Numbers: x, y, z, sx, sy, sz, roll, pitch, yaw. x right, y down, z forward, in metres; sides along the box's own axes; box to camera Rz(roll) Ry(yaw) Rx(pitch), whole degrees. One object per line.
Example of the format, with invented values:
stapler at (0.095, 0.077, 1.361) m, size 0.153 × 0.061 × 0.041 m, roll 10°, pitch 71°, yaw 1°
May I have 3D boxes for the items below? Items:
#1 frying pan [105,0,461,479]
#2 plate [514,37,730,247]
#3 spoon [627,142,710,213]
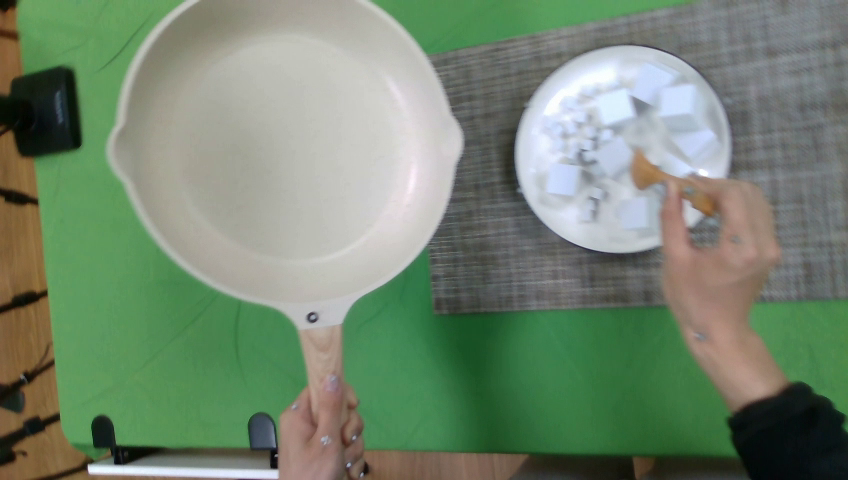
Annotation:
frying pan at (-0.108, 0.015, 0.558) m, size 0.308 × 0.102 × 0.487 m, roll -5°, pitch 87°, yaw -17°
plate at (0.197, -0.097, 0.620) m, size 0.207 × 0.039 × 0.207 m, roll 1°, pitch 93°, yaw 19°
spoon at (0.197, -0.051, 0.495) m, size 0.021 × 0.193 × 0.042 m, roll -6°, pitch 105°, yaw 3°
